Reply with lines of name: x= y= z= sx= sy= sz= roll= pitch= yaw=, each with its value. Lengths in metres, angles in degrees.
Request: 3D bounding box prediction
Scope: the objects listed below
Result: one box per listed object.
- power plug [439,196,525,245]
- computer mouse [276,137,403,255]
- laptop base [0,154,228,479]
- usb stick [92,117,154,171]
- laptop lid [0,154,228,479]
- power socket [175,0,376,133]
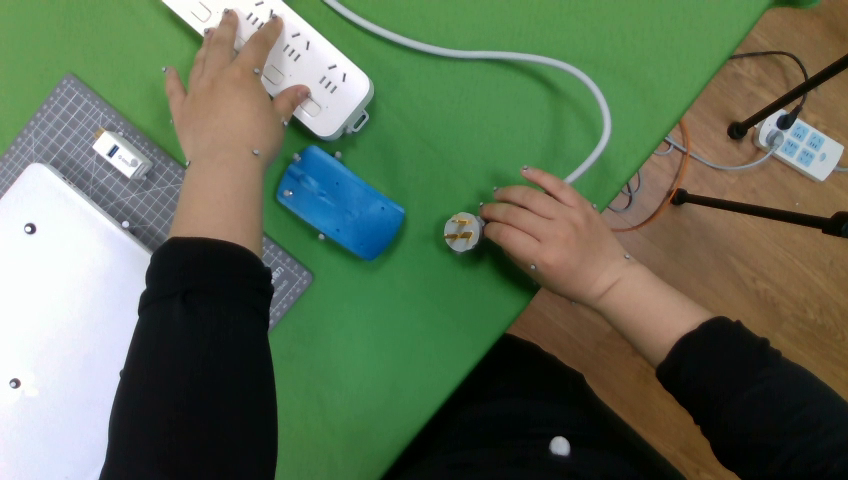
power plug: x=0.046 y=-0.025 z=0.542 sx=0.073 sy=0.053 sz=0.035 roll=-47 pitch=68 yaw=28
computer mouse: x=-0.079 y=-0.040 z=0.554 sx=0.117 sy=0.041 sz=0.063 roll=37 pitch=97 yaw=3
laptop base: x=-0.383 y=0.122 z=0.581 sx=0.236 sy=0.023 sz=0.354 roll=41 pitch=94 yaw=-6
usb stick: x=-0.281 y=-0.091 z=0.556 sx=0.059 sy=0.027 sz=0.021 roll=42 pitch=97 yaw=0
laptop lid: x=-0.382 y=0.124 z=0.570 sx=0.242 sy=0.013 sz=0.357 roll=43 pitch=94 yaw=-5
power socket: x=-0.140 y=-0.188 z=0.545 sx=0.227 sy=0.032 sz=0.072 roll=42 pitch=97 yaw=-2
